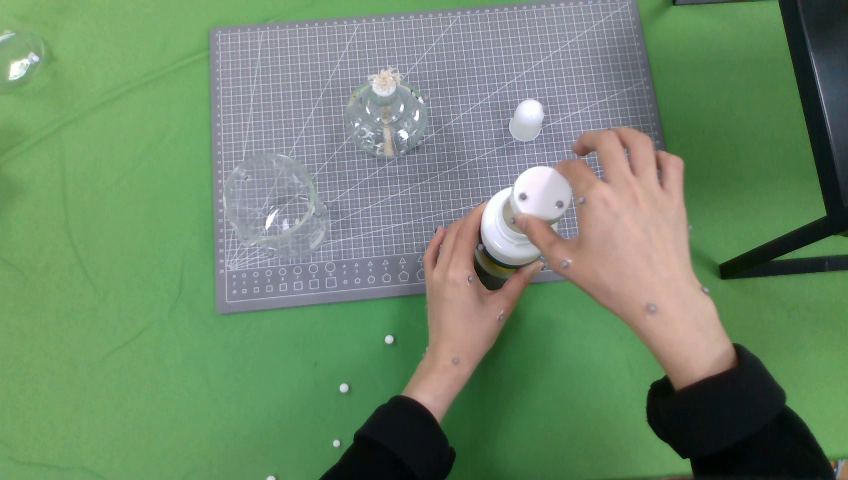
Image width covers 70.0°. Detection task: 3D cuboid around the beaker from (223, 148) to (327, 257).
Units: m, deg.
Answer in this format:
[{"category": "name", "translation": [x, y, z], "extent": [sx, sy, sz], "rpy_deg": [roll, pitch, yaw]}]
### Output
[{"category": "beaker", "translation": [-0.128, -0.025, 0.539], "extent": [0.074, 0.100, 0.083], "rpy_deg": [23, 78, 5]}]

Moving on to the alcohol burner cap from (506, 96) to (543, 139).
[{"category": "alcohol burner cap", "translation": [0.100, -0.123, 0.594], "extent": [0.034, 0.048, 0.033], "rpy_deg": [0, 77, -1]}]

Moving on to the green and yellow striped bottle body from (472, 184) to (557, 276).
[{"category": "green and yellow striped bottle body", "translation": [0.078, -0.009, 0.528], "extent": [0.063, 0.120, 0.063], "rpy_deg": [0, 77, 0]}]

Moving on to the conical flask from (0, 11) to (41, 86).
[{"category": "conical flask", "translation": [-0.429, -0.204, 0.566], "extent": [0.075, 0.122, 0.075], "rpy_deg": [0, 77, 0]}]

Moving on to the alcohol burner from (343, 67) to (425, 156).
[{"category": "alcohol burner", "translation": [-0.037, -0.123, 0.555], "extent": [0.078, 0.119, 0.077], "rpy_deg": [1, 76, -2]}]

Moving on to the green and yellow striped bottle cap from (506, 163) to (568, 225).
[{"category": "green and yellow striped bottle cap", "translation": [0.084, -0.035, 0.453], "extent": [0.045, 0.020, 0.045], "rpy_deg": [0, 80, 0]}]
